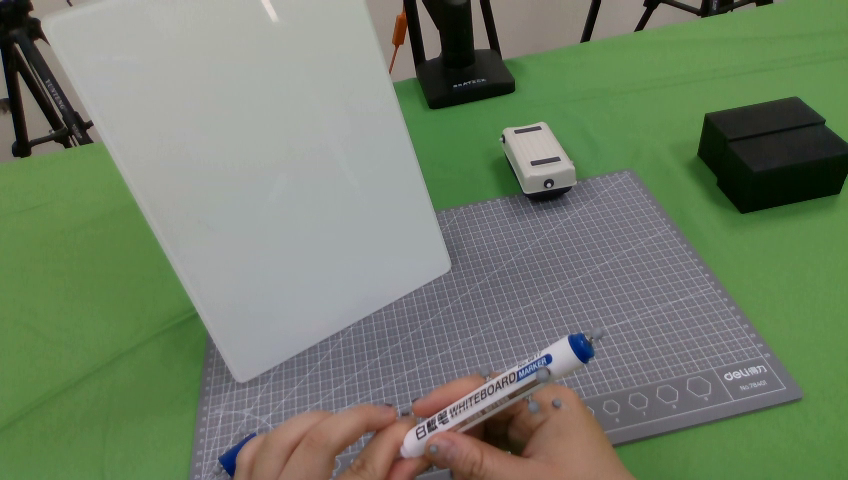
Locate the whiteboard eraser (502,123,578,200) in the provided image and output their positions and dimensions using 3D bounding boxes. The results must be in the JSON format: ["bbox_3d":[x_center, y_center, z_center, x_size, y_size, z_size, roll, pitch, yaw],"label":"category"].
[{"bbox_3d":[0.123,-0.085,0.655,0.055,0.042,0.111,-13,38,0],"label":"whiteboard eraser"}]

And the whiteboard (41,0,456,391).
[{"bbox_3d":[-0.135,-0.070,0.532,0.217,0.308,0.142,-27,25,-18],"label":"whiteboard"}]

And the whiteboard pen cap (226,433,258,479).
[{"bbox_3d":[-0.134,0.160,0.445,0.018,0.018,0.033,-1,60,10],"label":"whiteboard pen cap"}]

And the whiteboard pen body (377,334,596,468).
[{"bbox_3d":[0.027,0.088,0.312,0.141,0.017,0.017,-36,36,23],"label":"whiteboard pen body"}]
